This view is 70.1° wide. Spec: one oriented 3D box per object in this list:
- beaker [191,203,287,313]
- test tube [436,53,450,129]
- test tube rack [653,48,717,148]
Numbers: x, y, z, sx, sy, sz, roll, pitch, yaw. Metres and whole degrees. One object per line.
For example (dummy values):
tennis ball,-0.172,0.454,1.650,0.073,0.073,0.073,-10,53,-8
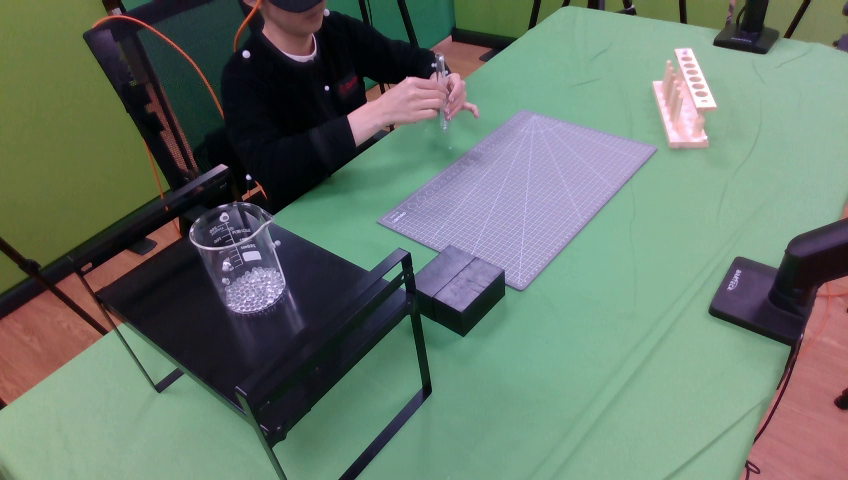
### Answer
beaker,-0.189,0.021,0.642,0.084,0.101,0.073,-16,41,-11
test tube,0.035,-0.265,1.087,0.017,0.151,0.017,-3,45,4
test tube rack,0.502,-0.281,1.177,0.066,0.085,0.241,1,41,10
